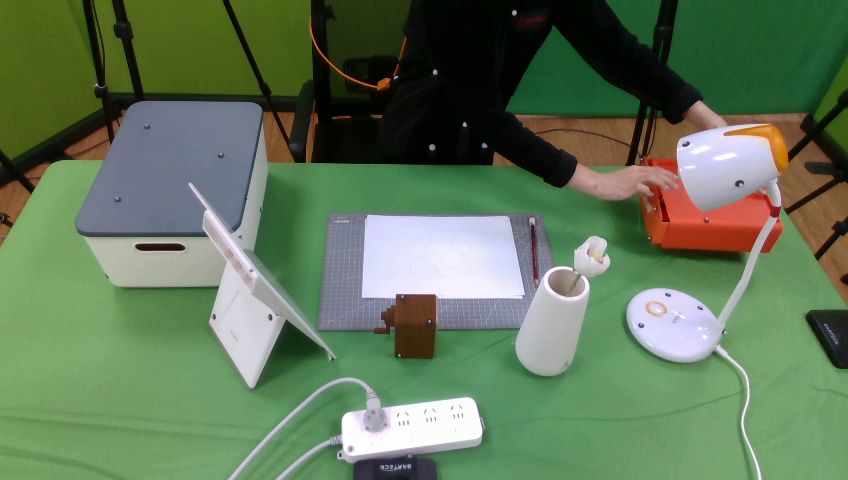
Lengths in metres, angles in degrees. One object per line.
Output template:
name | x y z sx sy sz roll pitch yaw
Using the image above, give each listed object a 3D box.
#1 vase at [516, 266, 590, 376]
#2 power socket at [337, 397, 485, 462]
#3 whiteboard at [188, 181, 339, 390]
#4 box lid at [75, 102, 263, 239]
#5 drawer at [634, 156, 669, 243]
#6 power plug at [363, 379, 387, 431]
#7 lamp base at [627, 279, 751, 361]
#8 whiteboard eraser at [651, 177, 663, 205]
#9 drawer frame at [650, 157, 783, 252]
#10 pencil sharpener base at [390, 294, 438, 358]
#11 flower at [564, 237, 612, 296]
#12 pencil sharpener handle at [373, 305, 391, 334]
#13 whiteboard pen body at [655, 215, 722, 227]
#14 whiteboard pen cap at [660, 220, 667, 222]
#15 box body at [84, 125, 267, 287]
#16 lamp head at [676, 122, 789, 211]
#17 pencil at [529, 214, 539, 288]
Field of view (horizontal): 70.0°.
vase | 0.208 0.132 0.964 0.098 0.201 0.097 3 46 -3
power socket | -0.018 0.285 0.915 0.227 0.033 0.071 -5 46 -8
whiteboard | -0.292 0.096 0.929 0.144 0.307 0.216 -38 57 -10
box lid | -0.443 -0.138 1.094 0.263 0.015 0.369 -1 47 -5
drawer | 0.543 -0.076 1.212 0.212 0.073 0.193 5 45 0
power plug | -0.072 0.252 0.910 0.035 0.053 0.072 3 44 -1
lamp base | 0.459 0.100 1.027 0.178 0.181 0.160 27 51 17
whiteboard eraser | 0.520 -0.098 1.255 0.113 0.042 0.055 5 53 -9
drawer frame | 0.563 -0.074 1.213 0.213 0.083 0.200 3 45 2
pencil sharpener base | -0.018 0.143 1.000 0.077 0.107 0.061 1 46 -2
flower | 0.206 0.088 0.893 0.038 0.363 0.044 -17 67 -9
pencil sharpener handle | -0.069 0.133 0.989 0.030 0.068 0.036 1 47 -2
whiteboard pen body | 0.524 -0.037 1.201 0.141 0.017 0.017 -6 47 -8
whiteboard pen cap | 0.465 -0.031 1.192 0.033 0.018 0.018 1 46 -14
box body | -0.446 -0.088 1.150 0.254 0.161 0.361 -1 46 -5
lamp head | 0.423 -0.104 0.819 0.122 0.113 0.112 -13 33 40
pencil | 0.219 0.019 1.202 0.012 0.012 0.193 5 48 0
